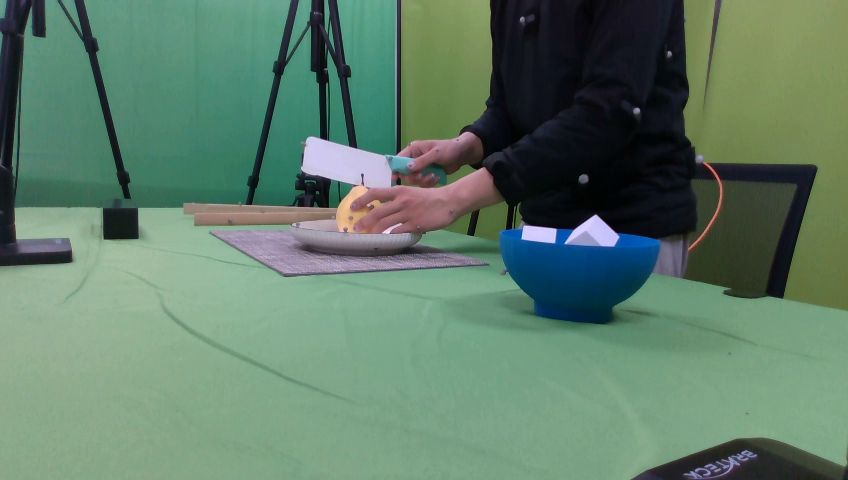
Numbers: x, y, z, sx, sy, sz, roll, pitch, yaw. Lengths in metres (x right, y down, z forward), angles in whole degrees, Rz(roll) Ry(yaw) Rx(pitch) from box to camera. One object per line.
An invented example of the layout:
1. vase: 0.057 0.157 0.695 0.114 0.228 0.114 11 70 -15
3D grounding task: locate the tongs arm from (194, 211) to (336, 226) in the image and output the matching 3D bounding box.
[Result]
1. tongs arm: -0.298 -0.049 1.307 0.390 0.028 0.028 -3 8 -37

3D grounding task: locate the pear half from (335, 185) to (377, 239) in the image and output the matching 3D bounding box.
1. pear half: -0.114 -0.046 0.977 0.071 0.088 0.031 -6 11 -34

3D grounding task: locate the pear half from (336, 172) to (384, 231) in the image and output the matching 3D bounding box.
1. pear half: -0.096 -0.051 0.946 0.077 0.110 0.055 -8 12 -33

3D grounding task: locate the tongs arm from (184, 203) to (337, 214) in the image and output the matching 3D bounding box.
1. tongs arm: -0.337 -0.065 1.376 0.387 0.026 0.050 0 10 -25

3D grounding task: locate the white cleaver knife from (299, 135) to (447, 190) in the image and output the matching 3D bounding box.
1. white cleaver knife: -0.075 -0.115 0.986 0.288 0.066 0.021 6 -7 -38

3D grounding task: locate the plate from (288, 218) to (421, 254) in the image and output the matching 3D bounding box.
1. plate: -0.109 -0.007 0.956 0.208 0.039 0.207 2 7 0

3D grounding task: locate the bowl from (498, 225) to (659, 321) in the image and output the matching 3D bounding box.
1. bowl: 0.144 0.032 0.585 0.151 0.077 0.151 2 7 0
